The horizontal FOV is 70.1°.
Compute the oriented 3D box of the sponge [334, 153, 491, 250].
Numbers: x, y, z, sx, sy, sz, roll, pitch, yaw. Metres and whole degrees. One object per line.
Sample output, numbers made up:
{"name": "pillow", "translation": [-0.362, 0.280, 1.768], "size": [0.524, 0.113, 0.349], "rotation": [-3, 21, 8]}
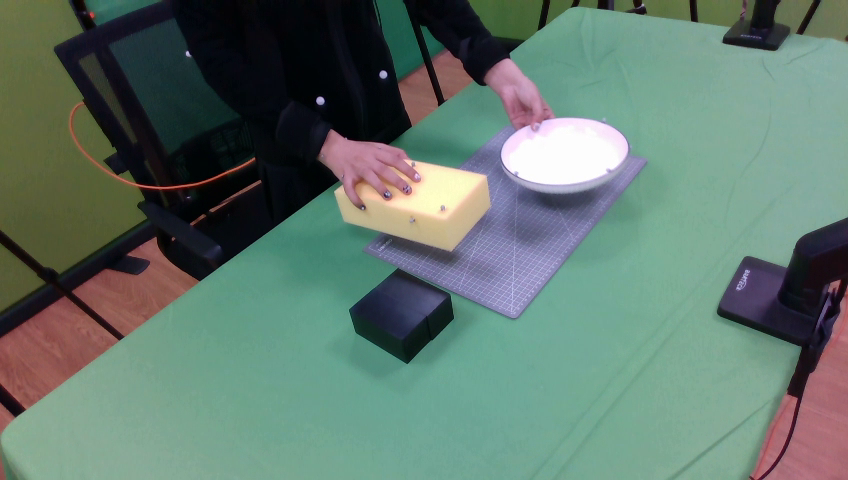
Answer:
{"name": "sponge", "translation": [-0.017, -0.064, 0.925], "size": [0.205, 0.061, 0.118], "rotation": [15, 46, 30]}

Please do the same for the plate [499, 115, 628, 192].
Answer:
{"name": "plate", "translation": [0.229, -0.140, 1.005], "size": [0.209, 0.038, 0.208], "rotation": [-7, 40, 6]}
